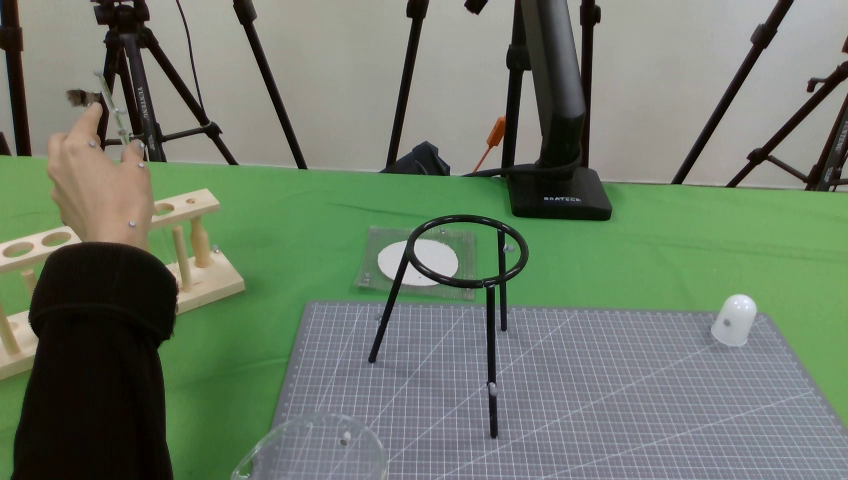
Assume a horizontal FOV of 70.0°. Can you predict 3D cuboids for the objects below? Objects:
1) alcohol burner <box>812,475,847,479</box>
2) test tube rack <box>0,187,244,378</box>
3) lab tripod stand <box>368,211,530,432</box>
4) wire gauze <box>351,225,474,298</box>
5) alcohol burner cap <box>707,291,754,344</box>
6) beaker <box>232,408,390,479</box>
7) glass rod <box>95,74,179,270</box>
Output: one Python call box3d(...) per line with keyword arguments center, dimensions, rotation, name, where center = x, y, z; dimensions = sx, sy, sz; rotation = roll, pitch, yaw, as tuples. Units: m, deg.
box3d(center=(0.260, 0.162, 0.349), dimensions=(0.078, 0.120, 0.077), rotation=(2, 33, -1), name="alcohol burner")
box3d(center=(-0.292, 0.035, 0.532), dimensions=(0.243, 0.086, 0.066), rotation=(-21, 41, -30), name="test tube rack")
box3d(center=(0.025, 0.055, 0.474), dimensions=(0.148, 0.132, 0.147), rotation=(1, 36, 0), name="lab tripod stand")
box3d(center=(-0.009, 0.017, 0.646), dimensions=(0.125, 0.011, 0.120), rotation=(3, 33, 3), name="wire gauze")
box3d(center=(0.282, 0.068, 0.554), dimensions=(0.034, 0.048, 0.033), rotation=(2, 34, -1), name="alcohol burner cap")
box3d(center=(-0.061, 0.159, 0.348), dimensions=(0.084, 0.101, 0.073), rotation=(0, 34, -2), name="beaker")
box3d(center=(-0.251, -0.051, 0.544), dimensions=(0.008, 0.201, 0.008), rotation=(-6, 34, 4), name="glass rod")
